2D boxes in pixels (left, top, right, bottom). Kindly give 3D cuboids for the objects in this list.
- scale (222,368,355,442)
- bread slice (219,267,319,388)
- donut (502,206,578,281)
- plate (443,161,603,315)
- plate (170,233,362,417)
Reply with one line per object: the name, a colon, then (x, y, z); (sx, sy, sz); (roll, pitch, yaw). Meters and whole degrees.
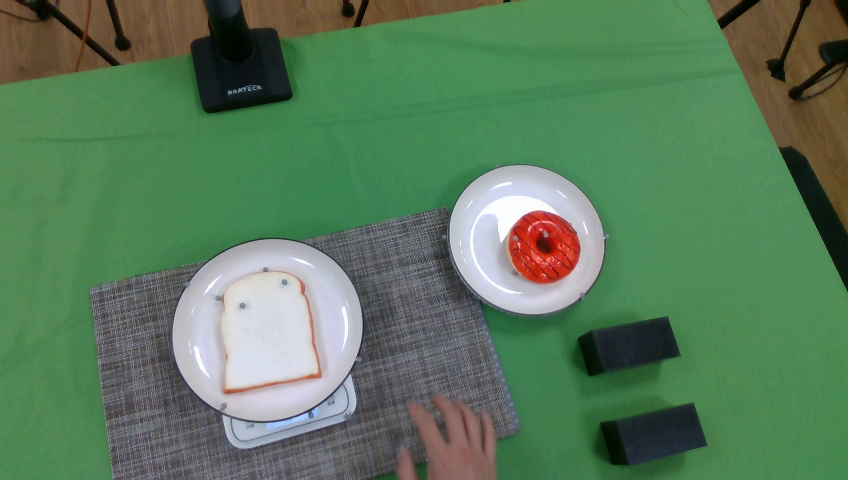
scale: (-0.173, 0.122, 0.714); (0.149, 0.032, 0.199); (-13, 74, -10)
bread slice: (-0.182, 0.095, 0.689); (0.105, 0.019, 0.130); (-9, 74, -11)
donut: (0.149, 0.005, 0.779); (0.099, 0.048, 0.098); (3, 75, -9)
plate: (0.127, -0.002, 0.791); (0.208, 0.039, 0.206); (2, 71, -6)
plate: (-0.175, 0.094, 0.687); (0.209, 0.038, 0.208); (2, 72, -6)
